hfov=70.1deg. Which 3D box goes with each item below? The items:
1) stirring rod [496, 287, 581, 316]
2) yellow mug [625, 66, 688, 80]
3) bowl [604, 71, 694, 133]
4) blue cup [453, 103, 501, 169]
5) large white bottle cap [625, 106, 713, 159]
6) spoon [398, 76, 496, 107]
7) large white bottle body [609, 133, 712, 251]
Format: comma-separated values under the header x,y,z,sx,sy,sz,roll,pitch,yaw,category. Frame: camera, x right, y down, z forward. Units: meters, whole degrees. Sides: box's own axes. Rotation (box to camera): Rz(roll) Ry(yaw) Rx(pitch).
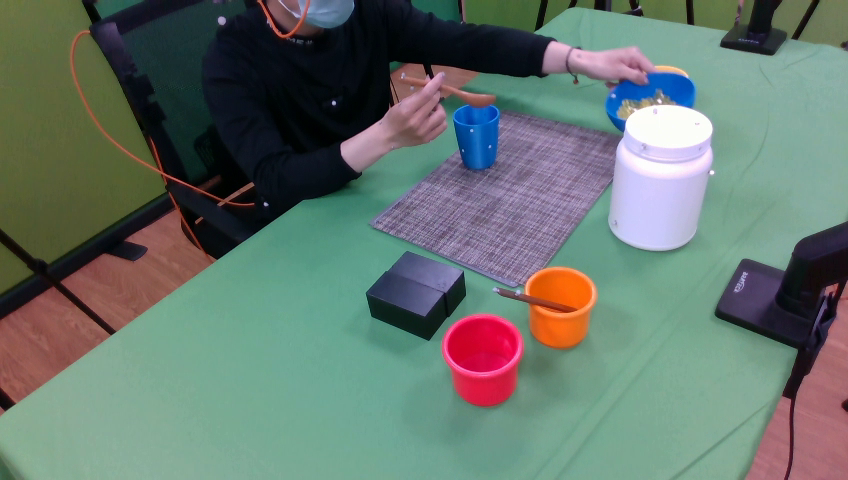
x,y,z,sx,sy,sz,roll,pitch,yaw,category
0.150,0.080,0.774,0.178,0.006,0.014,17,21,-42,stirring rod
0.465,-0.306,1.230,0.100,0.064,0.129,-34,46,-27,yellow mug
0.404,-0.225,1.078,0.151,0.077,0.150,-15,41,14,bowl
0.099,-0.188,1.115,0.092,0.100,0.092,-4,39,3,blue cup
0.342,-0.153,0.848,0.115,0.018,0.114,-4,41,4,large white bottle cap
0.040,-0.246,0.994,0.195,0.041,0.021,8,71,-32,spoon
0.351,-0.090,0.904,0.130,0.185,0.130,-5,41,4,large white bottle body
